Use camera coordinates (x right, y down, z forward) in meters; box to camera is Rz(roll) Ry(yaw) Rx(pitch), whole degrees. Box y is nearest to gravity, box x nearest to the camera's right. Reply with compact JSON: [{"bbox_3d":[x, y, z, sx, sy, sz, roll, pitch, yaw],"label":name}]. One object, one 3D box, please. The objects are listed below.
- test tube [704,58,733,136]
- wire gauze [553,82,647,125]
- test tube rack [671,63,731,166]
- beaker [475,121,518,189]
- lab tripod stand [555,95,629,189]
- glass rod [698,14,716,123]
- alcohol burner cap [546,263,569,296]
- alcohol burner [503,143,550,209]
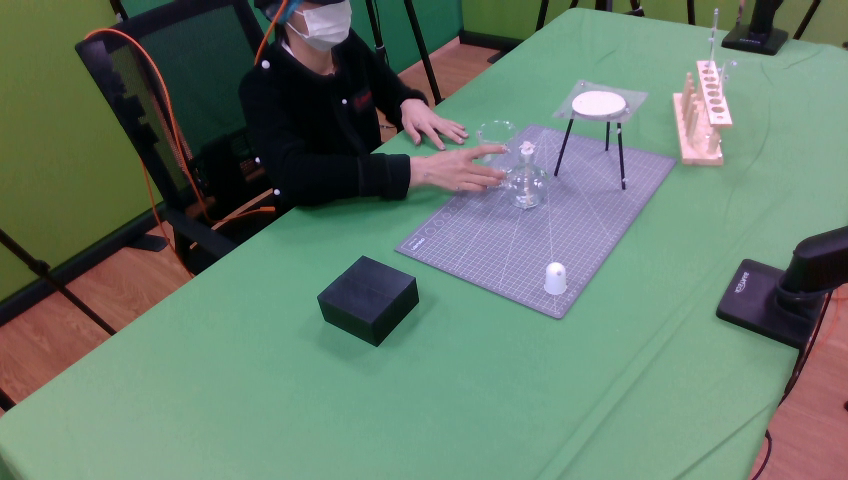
[{"bbox_3d":[0.516,-0.247,1.062,0.017,0.151,0.017,-3,43,4],"label":"test tube"},{"bbox_3d":[0.293,-0.225,1.002,0.120,0.011,0.125,17,45,27],"label":"wire gauze"},{"bbox_3d":[0.513,-0.241,1.132,0.066,0.085,0.242,4,41,14],"label":"test tube rack"},{"bbox_3d":[0.132,-0.149,1.069,0.073,0.101,0.084,29,51,35],"label":"beaker"},{"bbox_3d":[0.300,-0.174,1.045,0.148,0.132,0.147,-5,38,5],"label":"lab tripod stand"},{"bbox_3d":[0.531,-0.320,1.136,0.008,0.200,0.008,3,12,0],"label":"glass rod"},{"bbox_3d":[0.191,0.053,0.862,0.034,0.048,0.033,-5,40,4],"label":"alcohol burner cap"},{"bbox_3d":[0.171,-0.111,1.006,0.078,0.119,0.077,-4,41,4],"label":"alcohol burner"}]
